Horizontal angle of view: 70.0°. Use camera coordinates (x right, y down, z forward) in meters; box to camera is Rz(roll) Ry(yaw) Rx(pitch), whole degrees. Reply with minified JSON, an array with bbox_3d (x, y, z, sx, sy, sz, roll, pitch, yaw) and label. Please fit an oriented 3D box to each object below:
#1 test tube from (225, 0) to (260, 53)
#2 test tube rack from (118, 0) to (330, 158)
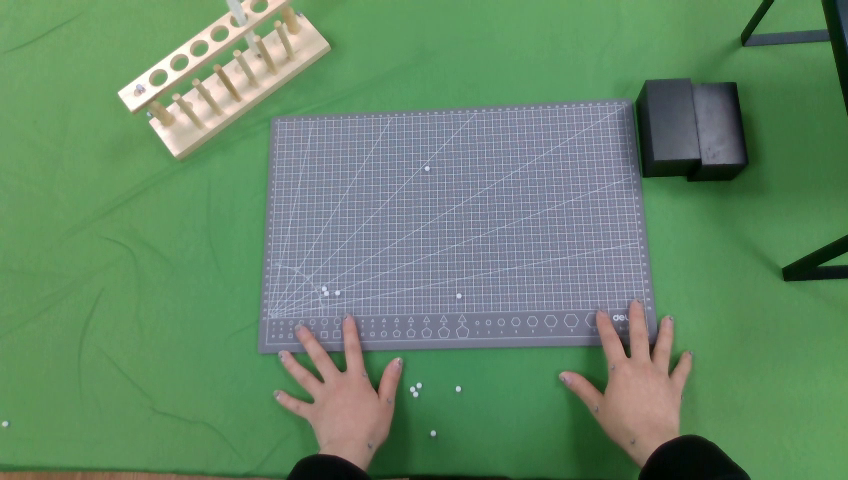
[{"bbox_3d":[-0.219,-0.270,0.712,0.017,0.151,0.017,-1,70,3],"label":"test tube"},{"bbox_3d":[-0.240,-0.214,0.750,0.242,0.085,0.066,-38,75,-6],"label":"test tube rack"}]
